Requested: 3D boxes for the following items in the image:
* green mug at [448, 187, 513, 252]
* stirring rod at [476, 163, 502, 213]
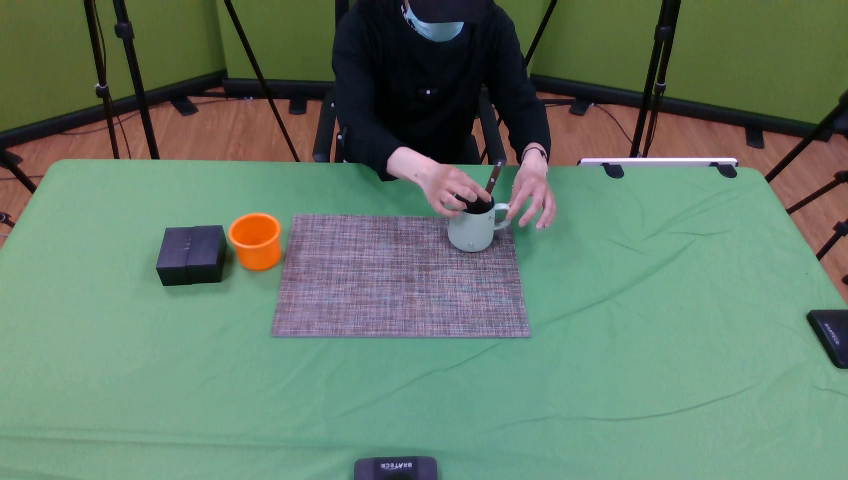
[{"bbox_3d":[0.112,-0.041,1.180,0.125,0.105,0.092,-7,46,-10],"label":"green mug"},{"bbox_3d":[0.116,-0.078,1.145,0.014,0.177,0.006,1,48,-15],"label":"stirring rod"}]
